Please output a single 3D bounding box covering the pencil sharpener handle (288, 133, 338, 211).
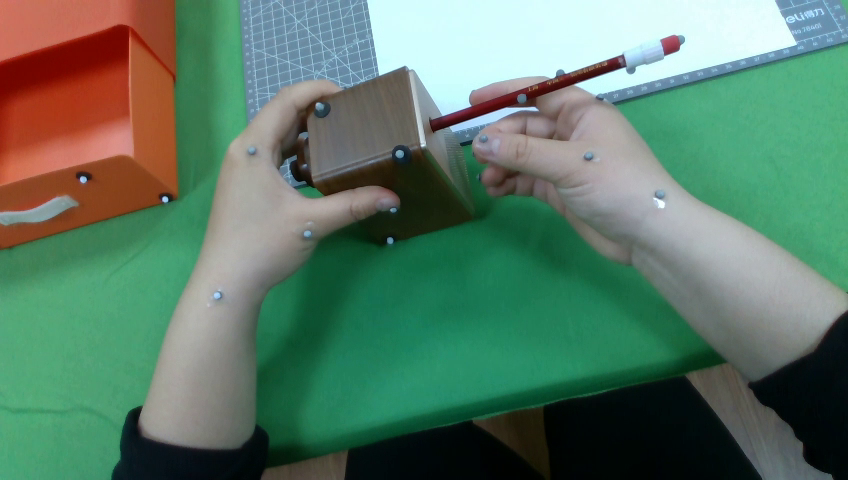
[{"bbox_3d":[-0.073,-0.039,0.391,0.030,0.068,0.035,-16,61,16],"label":"pencil sharpener handle"}]

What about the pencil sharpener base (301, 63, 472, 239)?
[{"bbox_3d":[-0.021,-0.050,0.389,0.076,0.108,0.061,-16,67,16],"label":"pencil sharpener base"}]

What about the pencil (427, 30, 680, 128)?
[{"bbox_3d":[0.045,-0.081,0.343,0.194,0.012,0.012,-16,66,14],"label":"pencil"}]

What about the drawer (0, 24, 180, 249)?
[{"bbox_3d":[-0.308,-0.111,0.494,0.194,0.074,0.210,-16,66,6],"label":"drawer"}]

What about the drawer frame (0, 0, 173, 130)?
[{"bbox_3d":[-0.332,-0.216,0.538,0.201,0.083,0.211,-15,66,6],"label":"drawer frame"}]
